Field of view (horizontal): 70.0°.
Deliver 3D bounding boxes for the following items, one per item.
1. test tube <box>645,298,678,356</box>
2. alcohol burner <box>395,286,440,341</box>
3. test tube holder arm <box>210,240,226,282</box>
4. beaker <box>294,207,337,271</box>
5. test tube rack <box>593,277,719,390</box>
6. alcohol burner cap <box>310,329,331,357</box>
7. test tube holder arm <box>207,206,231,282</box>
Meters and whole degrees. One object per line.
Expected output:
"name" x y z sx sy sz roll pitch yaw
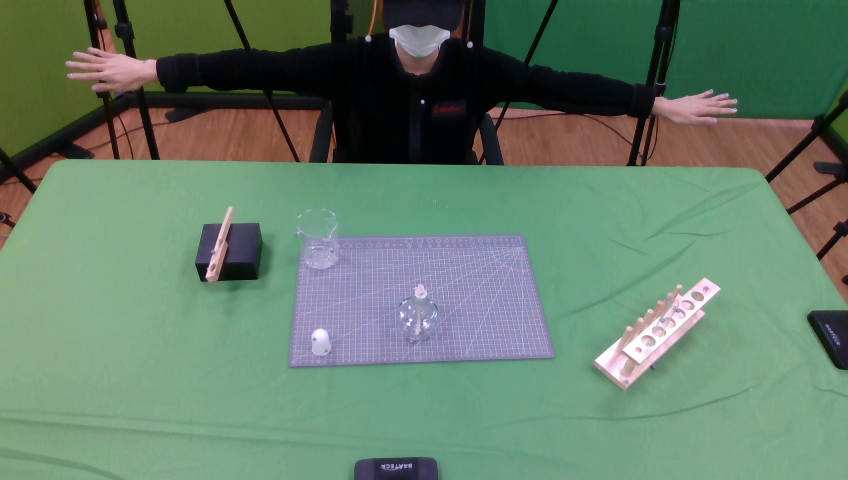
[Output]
"test tube" 0.378 0.143 0.976 0.017 0.151 0.017 1 48 -1
"alcohol burner" -0.010 0.116 1.018 0.078 0.119 0.077 3 47 -3
"test tube holder arm" -0.363 0.036 1.070 0.010 0.015 0.087 -3 47 0
"beaker" -0.196 0.003 1.123 0.074 0.101 0.083 -23 52 -24
"test tube rack" 0.401 0.148 1.043 0.242 0.085 0.066 -30 55 -29
"alcohol burner cap" -0.173 0.168 1.005 0.034 0.048 0.033 2 46 -2
"test tube holder arm" -0.371 0.004 1.100 0.013 0.015 0.177 -4 47 -1
